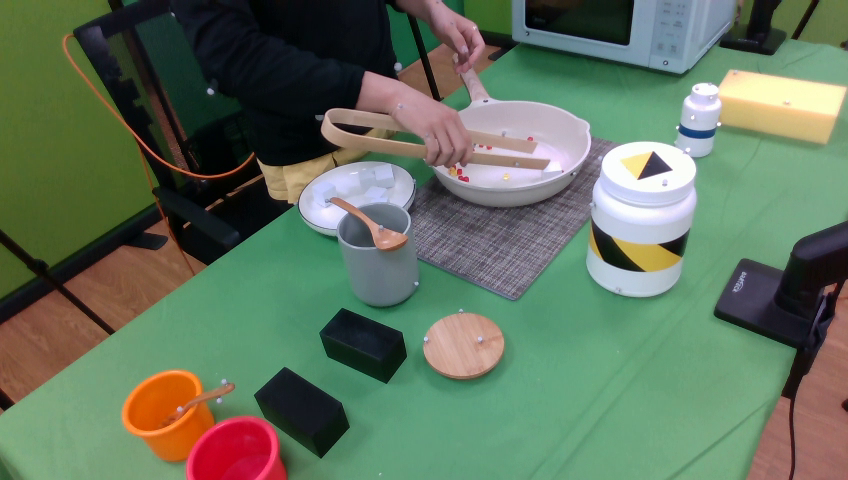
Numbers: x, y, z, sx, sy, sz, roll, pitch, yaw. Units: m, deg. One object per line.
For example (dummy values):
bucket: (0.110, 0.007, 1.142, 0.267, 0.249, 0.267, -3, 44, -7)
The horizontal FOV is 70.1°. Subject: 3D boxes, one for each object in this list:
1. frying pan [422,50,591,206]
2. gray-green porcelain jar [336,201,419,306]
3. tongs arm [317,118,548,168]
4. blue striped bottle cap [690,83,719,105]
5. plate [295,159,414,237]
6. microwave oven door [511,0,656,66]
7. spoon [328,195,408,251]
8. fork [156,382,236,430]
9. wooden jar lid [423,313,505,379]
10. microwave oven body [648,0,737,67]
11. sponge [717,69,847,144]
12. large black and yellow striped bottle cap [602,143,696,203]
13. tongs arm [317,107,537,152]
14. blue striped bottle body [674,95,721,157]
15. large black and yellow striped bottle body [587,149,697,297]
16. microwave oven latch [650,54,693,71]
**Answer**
frying pan: (0.127, -0.233, 1.155, 0.307, 0.103, 0.484, -10, 49, -5)
gray-green porcelain jar: (-0.064, 0.024, 0.872, 0.106, 0.127, 0.105, -4, 41, 4)
tongs arm: (0.030, -0.140, 0.925, 0.390, 0.027, 0.028, 3, 52, -27)
blue striped bottle cap: (0.481, -0.251, 1.038, 0.044, 0.021, 0.044, -5, 40, 5)
plate: (-0.118, -0.070, 1.055, 0.207, 0.039, 0.206, -5, 40, 5)
microwave oven door: (0.350, -0.539, 1.349, 0.353, 0.245, 0.039, 24, 50, 31)
spoon: (-0.083, -0.029, 0.829, 0.042, 0.022, 0.192, -32, 42, -21)
fork: (-0.262, 0.189, 0.690, 0.018, 0.206, 0.028, 49, 43, -7)
wooden jar lid: (0.053, 0.142, 0.800, 0.108, 0.021, 0.108, -5, 39, 4)
microwave oven body: (0.475, -0.602, 1.411, 0.438, 0.261, 0.327, 23, 50, 32)
sponge: (0.663, -0.256, 1.142, 0.205, 0.061, 0.118, 19, 47, 28)
large black and yellow striped bottle cap: (0.289, -0.088, 0.779, 0.115, 0.019, 0.114, -5, 39, 4)
tongs arm: (0.022, -0.162, 0.942, 0.388, 0.026, 0.050, 5, 48, -26)
blue striped bottle body: (0.486, -0.213, 1.072, 0.063, 0.121, 0.063, -4, 41, 4)
large black and yellow striped bottle body: (0.298, -0.026, 0.835, 0.131, 0.185, 0.130, -4, 41, 4)
microwave oven latch: (0.531, -0.386, 1.301, 0.078, 0.029, 0.030, 26, 51, 33)
